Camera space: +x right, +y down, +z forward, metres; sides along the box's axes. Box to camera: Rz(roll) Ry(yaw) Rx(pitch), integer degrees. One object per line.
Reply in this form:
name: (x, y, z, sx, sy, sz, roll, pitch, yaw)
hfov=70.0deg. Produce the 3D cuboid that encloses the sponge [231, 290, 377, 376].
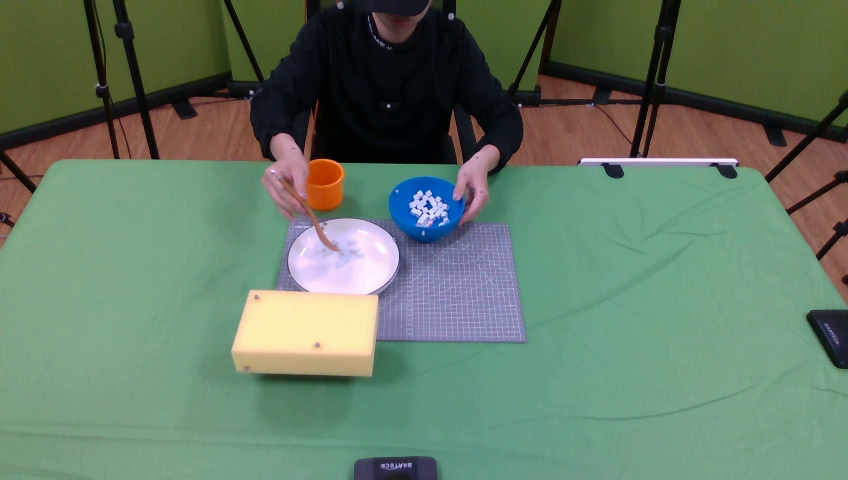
sponge: (-0.180, 0.144, 0.949, 0.207, 0.061, 0.117, 2, 46, -2)

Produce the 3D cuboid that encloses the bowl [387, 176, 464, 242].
bowl: (0.001, -0.049, 1.196, 0.151, 0.077, 0.150, 2, 46, -2)

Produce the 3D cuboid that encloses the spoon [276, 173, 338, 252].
spoon: (-0.204, -0.045, 1.062, 0.021, 0.195, 0.041, -40, 38, -17)

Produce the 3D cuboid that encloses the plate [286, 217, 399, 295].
plate: (-0.150, 0.041, 1.131, 0.209, 0.038, 0.208, 2, 46, -2)
